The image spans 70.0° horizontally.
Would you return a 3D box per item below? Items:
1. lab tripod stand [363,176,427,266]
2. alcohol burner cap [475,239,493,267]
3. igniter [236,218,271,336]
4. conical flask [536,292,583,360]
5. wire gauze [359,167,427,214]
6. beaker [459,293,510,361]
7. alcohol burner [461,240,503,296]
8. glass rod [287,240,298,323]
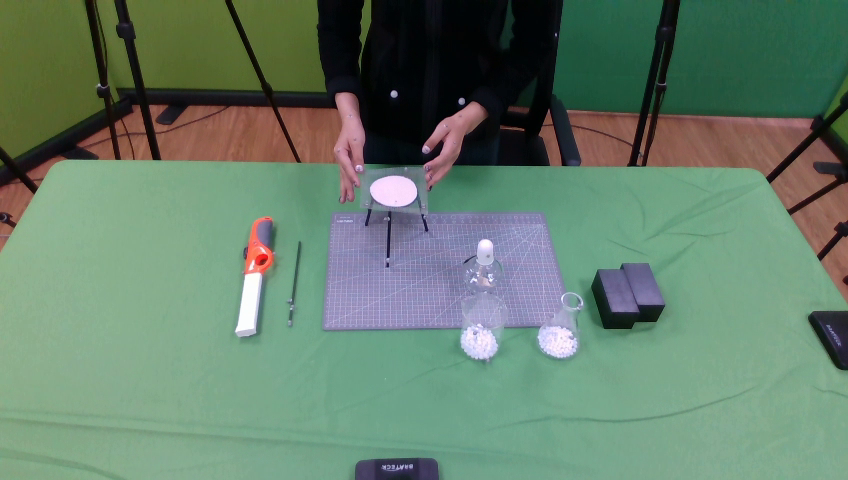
[{"bbox_3d":[-0.058,-0.047,1.159,0.148,0.132,0.147,3,44,-2],"label":"lab tripod stand"},{"bbox_3d":[0.107,0.020,1.071,0.034,0.048,0.033,-2,46,2],"label":"alcohol burner cap"},{"bbox_3d":[-0.312,0.058,1.115,0.057,0.025,0.274,-9,46,2],"label":"igniter"},{"bbox_3d":[0.234,0.139,1.015,0.075,0.122,0.075,2,46,-2],"label":"conical flask"},{"bbox_3d":[-0.059,-0.093,1.110,0.125,0.011,0.120,1,46,-4],"label":"wire gauze"},{"bbox_3d":[0.094,0.147,1.012,0.083,0.101,0.074,26,49,21],"label":"beaker"},{"bbox_3d":[0.106,0.045,1.098,0.078,0.120,0.077,2,44,-1],"label":"alcohol burner"},{"bbox_3d":[-0.242,0.072,1.119,0.008,0.008,0.198,-1,47,-5],"label":"glass rod"}]
